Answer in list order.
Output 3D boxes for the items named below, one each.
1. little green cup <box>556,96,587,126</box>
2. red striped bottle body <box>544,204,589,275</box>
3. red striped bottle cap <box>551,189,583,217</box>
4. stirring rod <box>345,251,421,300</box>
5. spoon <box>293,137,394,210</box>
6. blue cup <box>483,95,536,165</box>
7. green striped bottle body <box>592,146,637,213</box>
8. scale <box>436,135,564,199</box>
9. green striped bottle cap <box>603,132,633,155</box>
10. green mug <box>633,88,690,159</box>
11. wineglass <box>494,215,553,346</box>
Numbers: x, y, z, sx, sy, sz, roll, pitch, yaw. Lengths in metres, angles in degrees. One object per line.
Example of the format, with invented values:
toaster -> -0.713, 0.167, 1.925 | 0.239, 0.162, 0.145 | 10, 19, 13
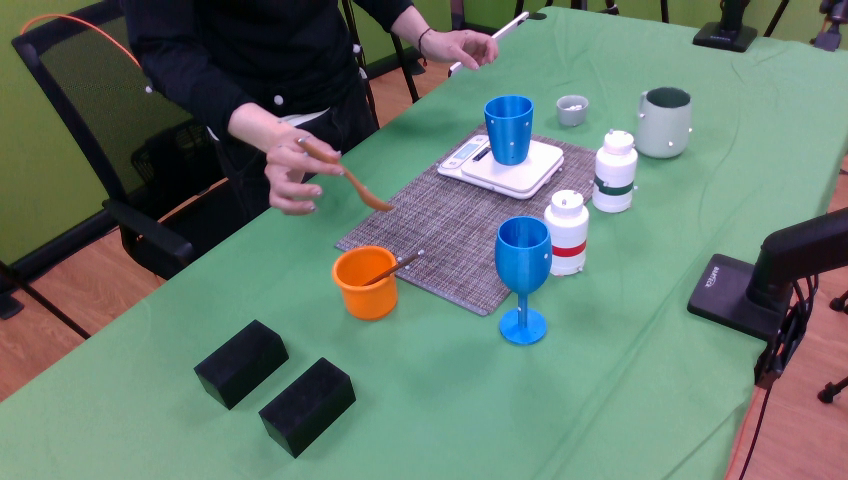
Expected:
little green cup -> 0.295, -0.258, 1.214 | 0.061, 0.039, 0.061 | -4, 42, 4
red striped bottle body -> 0.206, -0.011, 0.877 | 0.063, 0.120, 0.062 | -5, 41, 4
red striped bottle cap -> 0.200, -0.052, 0.843 | 0.044, 0.018, 0.044 | -2, 42, 2
stirring rod -> -0.060, 0.051, 0.829 | 0.175, 0.006, 0.014 | -32, 18, 44
spoon -> -0.101, -0.083, 0.783 | 0.041, 0.195, 0.021 | 12, 71, 39
blue cup -> 0.148, -0.188, 1.053 | 0.092, 0.100, 0.092 | -5, 39, 5
green striped bottle body -> 0.307, -0.108, 0.976 | 0.063, 0.120, 0.063 | -4, 41, 4
scale -> 0.137, -0.142, 1.101 | 0.199, 0.032, 0.149 | 22, 48, 30
green striped bottle cap -> 0.302, -0.149, 0.939 | 0.044, 0.020, 0.044 | -3, 40, 3
green mug -> 0.423, -0.217, 1.099 | 0.093, 0.105, 0.124 | -16, 41, -10
wineglass -> 0.127, 0.055, 0.770 | 0.074, 0.173, 0.073 | -4, 40, 4
